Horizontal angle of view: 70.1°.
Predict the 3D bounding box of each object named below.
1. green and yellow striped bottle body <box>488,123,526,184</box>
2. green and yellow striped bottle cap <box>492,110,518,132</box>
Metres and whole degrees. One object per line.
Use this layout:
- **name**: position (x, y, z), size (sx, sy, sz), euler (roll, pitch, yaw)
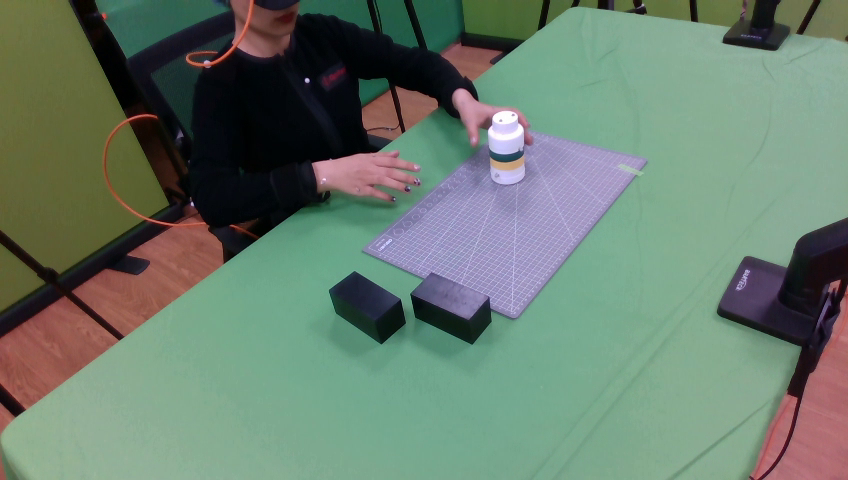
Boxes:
- **green and yellow striped bottle body**: position (0.147, -0.163, 1.067), size (0.063, 0.120, 0.063), euler (-5, 40, 5)
- **green and yellow striped bottle cap**: position (0.139, -0.203, 1.033), size (0.045, 0.020, 0.045), euler (-4, 41, 4)
